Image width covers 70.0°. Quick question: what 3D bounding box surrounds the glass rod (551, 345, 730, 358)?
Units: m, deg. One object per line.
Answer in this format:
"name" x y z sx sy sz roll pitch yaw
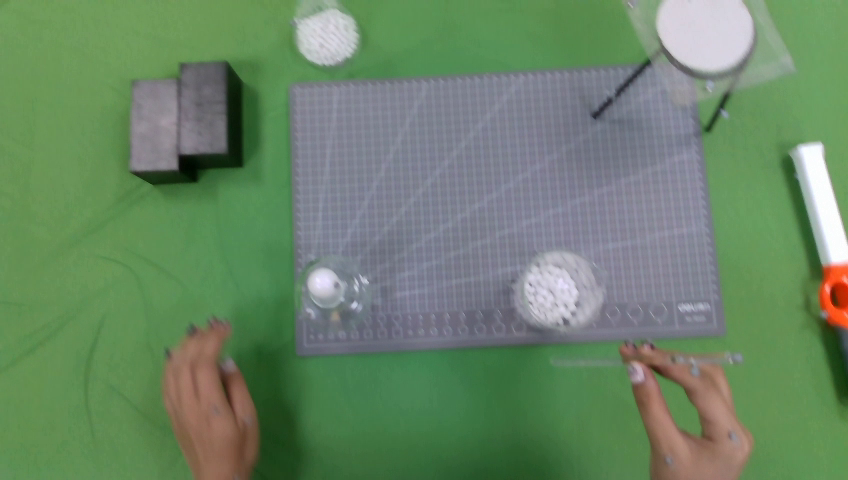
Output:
"glass rod" 0.148 0.085 0.452 0.008 0.199 0.008 4 78 -19

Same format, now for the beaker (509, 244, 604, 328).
"beaker" 0.125 0.047 0.594 0.084 0.100 0.073 -22 82 -3

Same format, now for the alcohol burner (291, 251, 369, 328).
"alcohol burner" -0.094 0.046 0.589 0.078 0.119 0.077 0 80 -1

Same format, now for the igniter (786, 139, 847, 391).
"igniter" 0.429 0.029 0.632 0.057 0.025 0.275 -8 82 -11

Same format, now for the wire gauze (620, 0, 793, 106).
"wire gauze" 0.253 -0.191 0.544 0.125 0.011 0.121 -19 83 -2

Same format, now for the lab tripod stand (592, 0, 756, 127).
"lab tripod stand" 0.252 -0.177 0.610 0.148 0.132 0.148 0 83 0

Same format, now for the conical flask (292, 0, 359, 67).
"conical flask" -0.111 -0.239 0.629 0.075 0.122 0.075 0 81 1

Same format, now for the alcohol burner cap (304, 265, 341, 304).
"alcohol burner cap" -0.094 0.038 0.554 0.034 0.048 0.033 2 73 -5
